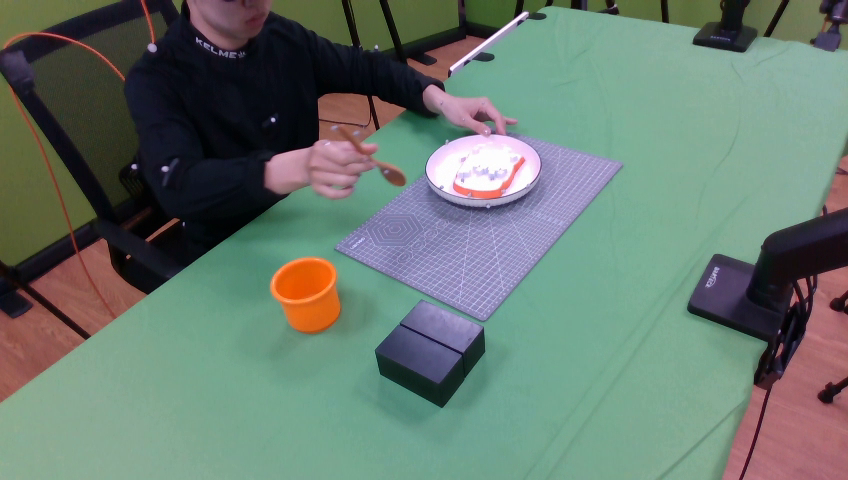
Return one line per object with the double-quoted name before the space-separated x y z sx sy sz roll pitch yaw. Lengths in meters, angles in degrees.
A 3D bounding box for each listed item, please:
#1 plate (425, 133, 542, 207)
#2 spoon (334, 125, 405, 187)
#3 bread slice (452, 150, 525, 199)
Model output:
"plate" 0.106 -0.121 1.079 0.209 0.038 0.208 -4 41 4
"spoon" -0.077 -0.119 0.880 0.041 0.195 0.021 10 80 25
"bread slice" 0.112 -0.119 1.079 0.104 0.019 0.131 11 43 21
